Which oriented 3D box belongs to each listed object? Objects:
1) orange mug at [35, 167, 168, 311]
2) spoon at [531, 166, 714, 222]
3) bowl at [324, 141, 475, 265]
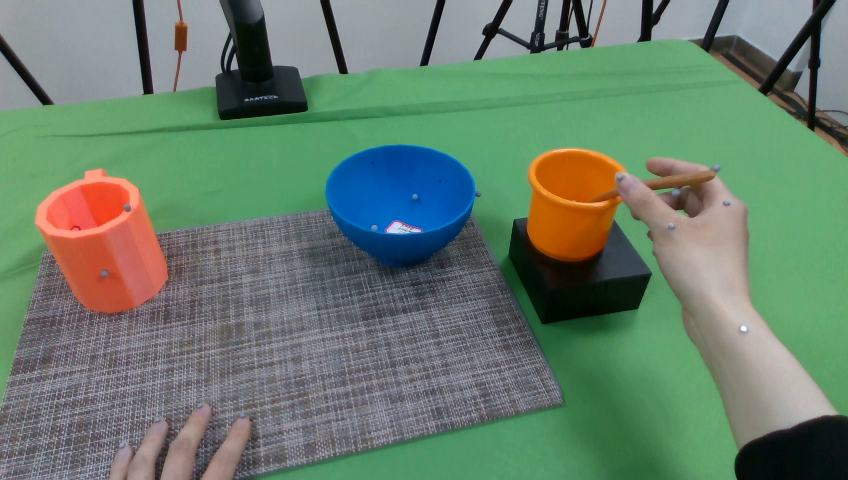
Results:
[{"bbox_3d":[-0.303,-0.010,0.577,0.084,0.101,0.125,-14,49,-16],"label":"orange mug"},{"bbox_3d":[0.161,-0.039,0.523,0.042,0.193,0.021,-25,92,-29],"label":"spoon"},{"bbox_3d":[-0.025,-0.028,0.624,0.151,0.077,0.150,1,42,-1],"label":"bowl"}]
